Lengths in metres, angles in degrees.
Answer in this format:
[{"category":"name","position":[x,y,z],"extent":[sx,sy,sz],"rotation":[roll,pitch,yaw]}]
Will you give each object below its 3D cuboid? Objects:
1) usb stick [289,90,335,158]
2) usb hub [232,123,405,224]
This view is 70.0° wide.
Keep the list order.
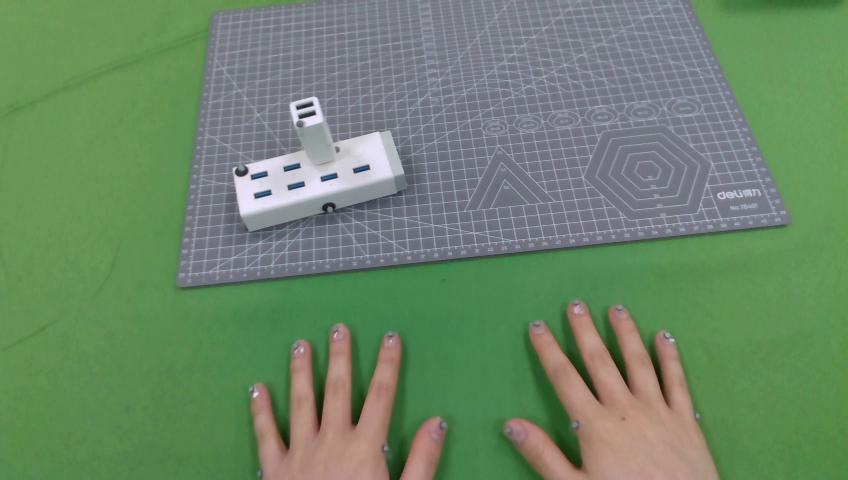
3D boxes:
[{"category":"usb stick","position":[-0.081,-0.080,0.448],"extent":[0.021,0.059,0.027],"rotation":[-17,60,-4]},{"category":"usb hub","position":[-0.081,-0.053,0.466],"extent":[0.125,0.025,0.049],"rotation":[-15,60,-6]}]
